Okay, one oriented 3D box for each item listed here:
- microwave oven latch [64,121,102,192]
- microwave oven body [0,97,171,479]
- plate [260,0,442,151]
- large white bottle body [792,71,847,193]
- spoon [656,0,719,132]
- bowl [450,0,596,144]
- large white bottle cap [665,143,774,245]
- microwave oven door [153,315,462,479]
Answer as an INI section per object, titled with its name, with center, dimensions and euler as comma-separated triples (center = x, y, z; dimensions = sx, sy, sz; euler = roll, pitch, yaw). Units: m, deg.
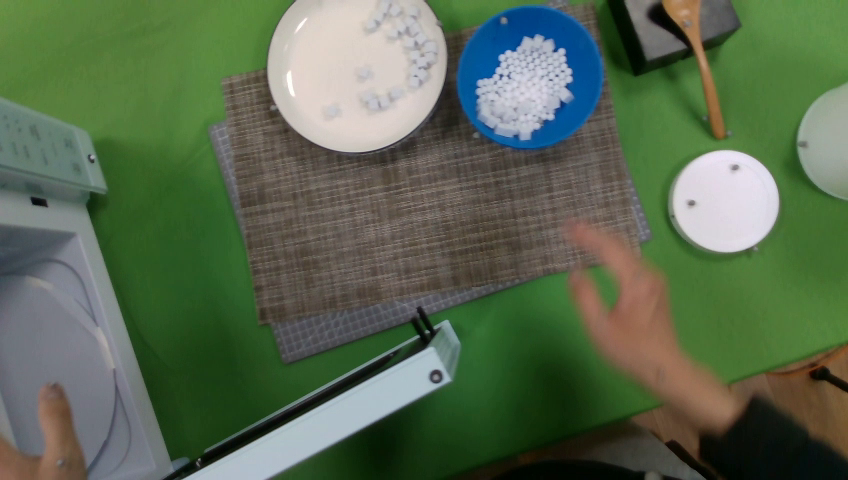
[microwave oven latch]
center = -0.406, -0.097, 0.705
dimensions = 0.030, 0.029, 0.079
euler = -21, 87, 3
[microwave oven body]
center = -0.489, 0.117, 0.608
dimensions = 0.326, 0.260, 0.441
euler = -21, 87, 3
[plate]
center = -0.081, -0.202, 0.698
dimensions = 0.209, 0.038, 0.208
euler = 0, 87, 5
[large white bottle body]
center = 0.465, -0.120, 0.584
dimensions = 0.130, 0.185, 0.130
euler = 0, 87, 5
[spoon]
center = 0.286, -0.201, 0.648
dimensions = 0.041, 0.021, 0.195
euler = -26, 108, 2
[bowl]
center = 0.105, -0.173, 0.663
dimensions = 0.151, 0.077, 0.151
euler = 0, 88, 5
[large white bottle cap]
center = 0.329, -0.051, 0.676
dimensions = 0.115, 0.018, 0.114
euler = 0, 88, 3
[microwave oven door]
center = -0.130, 0.179, 0.575
dimensions = 0.356, 0.244, 0.039
euler = -29, 85, 3
